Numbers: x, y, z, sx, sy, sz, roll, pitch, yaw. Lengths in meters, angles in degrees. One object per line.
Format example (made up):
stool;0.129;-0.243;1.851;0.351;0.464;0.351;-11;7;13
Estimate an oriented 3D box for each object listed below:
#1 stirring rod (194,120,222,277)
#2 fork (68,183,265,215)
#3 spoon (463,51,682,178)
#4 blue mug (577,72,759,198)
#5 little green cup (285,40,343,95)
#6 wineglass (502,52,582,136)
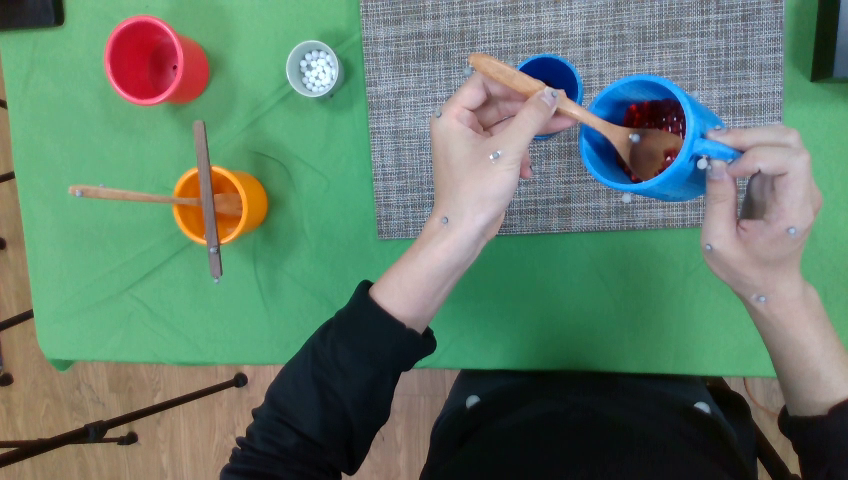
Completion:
stirring rod;-0.242;-0.046;0.680;0.014;0.006;0.176;-2;97;10
fork;-0.285;-0.048;0.689;0.209;0.018;0.028;3;108;-35
spoon;0.115;-0.093;0.440;0.195;0.021;0.042;22;108;-19
blue mug;0.190;-0.072;0.458;0.115;0.106;0.082;23;104;36
little green cup;-0.124;-0.196;0.697;0.061;0.038;0.061;1;99;10
wineglass;0.114;-0.138;0.595;0.073;0.172;0.074;1;98;10
